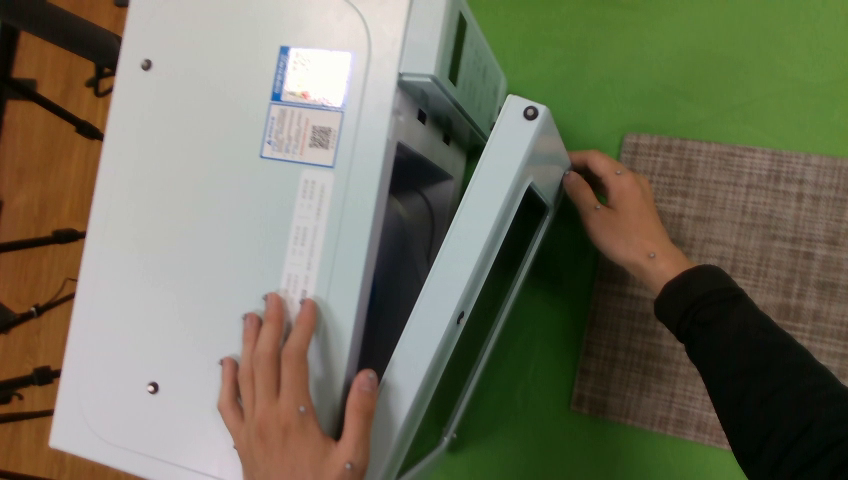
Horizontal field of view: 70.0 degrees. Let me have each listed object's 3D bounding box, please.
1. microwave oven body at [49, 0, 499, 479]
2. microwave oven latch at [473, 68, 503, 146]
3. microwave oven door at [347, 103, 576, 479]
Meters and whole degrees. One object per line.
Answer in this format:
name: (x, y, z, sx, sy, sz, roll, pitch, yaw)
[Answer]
microwave oven body: (-0.131, 0.000, 0.611, 0.324, 0.261, 0.441, 9, 89, 18)
microwave oven latch: (0.067, -0.145, 0.660, 0.030, 0.029, 0.079, 10, 90, 18)
microwave oven door: (0.039, 0.075, 0.547, 0.039, 0.245, 0.356, 25, 94, 19)
